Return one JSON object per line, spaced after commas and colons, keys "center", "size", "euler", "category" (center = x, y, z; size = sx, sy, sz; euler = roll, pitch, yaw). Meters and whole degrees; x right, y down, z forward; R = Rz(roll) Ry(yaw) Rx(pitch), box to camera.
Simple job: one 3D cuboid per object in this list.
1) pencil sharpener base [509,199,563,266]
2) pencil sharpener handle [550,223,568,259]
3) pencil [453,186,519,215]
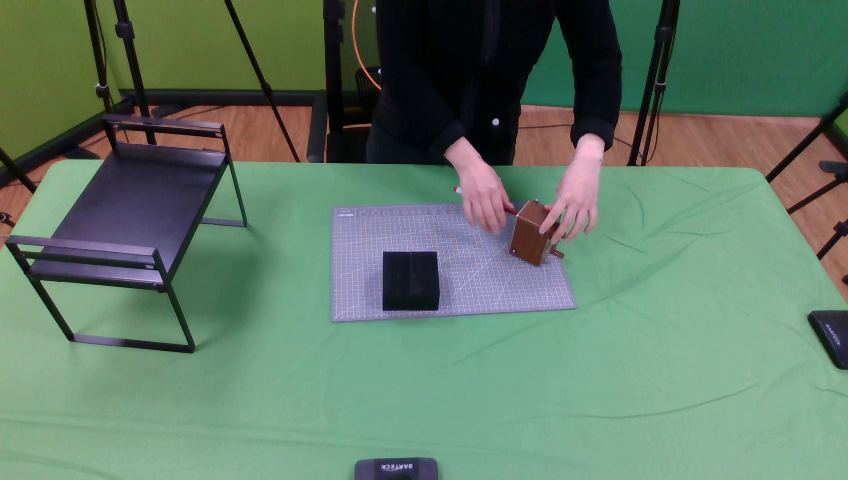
{"center": [0.216, -0.012, 1.161], "size": [0.076, 0.107, 0.061], "euler": [27, 50, 20], "category": "pencil sharpener base"}
{"center": [0.258, 0.003, 1.132], "size": [0.030, 0.068, 0.036], "euler": [27, 37, 20], "category": "pencil sharpener handle"}
{"center": [0.140, -0.069, 1.177], "size": [0.193, 0.012, 0.012], "euler": [24, 49, 24], "category": "pencil"}
